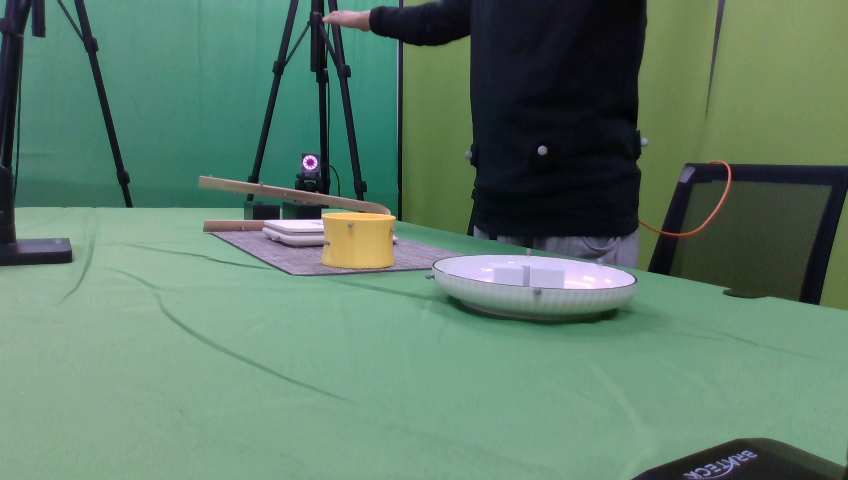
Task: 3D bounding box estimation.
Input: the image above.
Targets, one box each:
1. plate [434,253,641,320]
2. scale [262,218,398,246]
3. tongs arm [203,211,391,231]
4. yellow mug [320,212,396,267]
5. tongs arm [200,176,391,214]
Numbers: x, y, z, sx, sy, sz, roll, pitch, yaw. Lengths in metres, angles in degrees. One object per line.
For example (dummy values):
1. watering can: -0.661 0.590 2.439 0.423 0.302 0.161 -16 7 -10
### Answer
1. plate: 0.114 0.047 0.626 0.208 0.039 0.207 2 7 0
2. scale: -0.160 -0.016 1.028 0.202 0.031 0.148 -2 9 -31
3. tongs arm: -0.231 -0.036 1.185 0.390 0.028 0.028 -3 33 -33
4. yellow mug: -0.088 -0.004 0.825 0.100 0.064 0.131 2 6 -2
5. tongs arm: -0.257 -0.084 1.245 0.387 0.026 0.050 6 32 -22
